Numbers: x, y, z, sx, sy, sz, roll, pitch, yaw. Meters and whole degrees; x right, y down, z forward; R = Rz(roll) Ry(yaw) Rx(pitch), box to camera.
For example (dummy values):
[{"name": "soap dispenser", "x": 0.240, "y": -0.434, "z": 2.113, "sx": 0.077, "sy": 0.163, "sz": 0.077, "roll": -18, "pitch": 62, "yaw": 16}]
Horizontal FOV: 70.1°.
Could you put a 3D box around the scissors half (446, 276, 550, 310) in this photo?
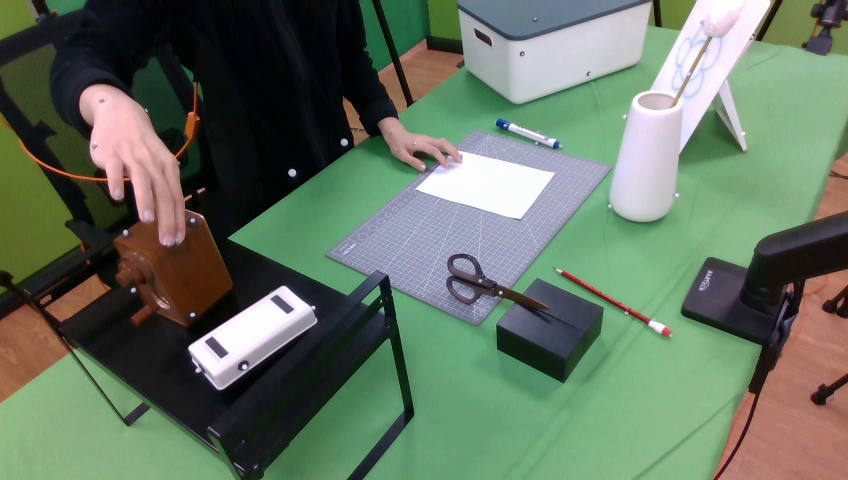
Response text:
[{"name": "scissors half", "x": 0.098, "y": 0.077, "z": 0.827, "sx": 0.174, "sy": 0.040, "sz": 0.013, "roll": 6, "pitch": 14, "yaw": 44}]

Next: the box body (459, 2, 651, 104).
[{"name": "box body", "x": 0.291, "y": -0.465, "z": 1.371, "sx": 0.365, "sy": 0.161, "sz": 0.252, "roll": -22, "pitch": 42, "yaw": -16}]

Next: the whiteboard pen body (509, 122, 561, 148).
[{"name": "whiteboard pen body", "x": 0.209, "y": -0.212, "z": 1.195, "sx": 0.139, "sy": 0.017, "sz": 0.017, "roll": 30, "pitch": 52, "yaw": 33}]

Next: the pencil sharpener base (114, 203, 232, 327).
[{"name": "pencil sharpener base", "x": -0.261, "y": 0.029, "z": 0.635, "sx": 0.061, "sy": 0.107, "sz": 0.077, "roll": 18, "pitch": 47, "yaw": 26}]

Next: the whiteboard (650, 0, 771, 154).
[{"name": "whiteboard", "x": 0.543, "y": -0.298, "z": 1.076, "sx": 0.144, "sy": 0.305, "sz": 0.216, "roll": 12, "pitch": 40, "yaw": -7}]

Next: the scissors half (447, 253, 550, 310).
[{"name": "scissors half", "x": 0.098, "y": 0.058, "z": 0.821, "sx": 0.173, "sy": 0.040, "sz": 0.013, "roll": 27, "pitch": 33, "yaw": 37}]

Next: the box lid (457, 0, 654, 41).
[{"name": "box lid", "x": 0.285, "y": -0.522, "z": 1.323, "sx": 0.373, "sy": 0.015, "sz": 0.261, "roll": -22, "pitch": 43, "yaw": -16}]

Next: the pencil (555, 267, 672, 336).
[{"name": "pencil", "x": 0.260, "y": 0.082, "z": 0.850, "sx": 0.012, "sy": 0.012, "sz": 0.192, "roll": -33, "pitch": 46, "yaw": -27}]

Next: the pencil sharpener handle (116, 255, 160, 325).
[{"name": "pencil sharpener handle", "x": -0.286, "y": 0.050, "z": 0.594, "sx": 0.035, "sy": 0.068, "sz": 0.031, "roll": 7, "pitch": 41, "yaw": 35}]

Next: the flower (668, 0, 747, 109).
[{"name": "flower", "x": 0.354, "y": -0.187, "z": 0.879, "sx": 0.038, "sy": 0.362, "sz": 0.044, "roll": 31, "pitch": 48, "yaw": 14}]

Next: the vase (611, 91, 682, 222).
[{"name": "vase", "x": 0.348, "y": -0.125, "z": 0.935, "sx": 0.098, "sy": 0.201, "sz": 0.097, "roll": -3, "pitch": 40, "yaw": 3}]

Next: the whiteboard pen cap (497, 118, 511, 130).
[{"name": "whiteboard pen cap", "x": 0.165, "y": -0.235, "z": 1.227, "sx": 0.033, "sy": 0.018, "sz": 0.018, "roll": 31, "pitch": 53, "yaw": 31}]

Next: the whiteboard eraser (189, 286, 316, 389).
[{"name": "whiteboard eraser", "x": -0.166, "y": 0.096, "z": 0.593, "sx": 0.113, "sy": 0.042, "sz": 0.055, "roll": -36, "pitch": 46, "yaw": -29}]
